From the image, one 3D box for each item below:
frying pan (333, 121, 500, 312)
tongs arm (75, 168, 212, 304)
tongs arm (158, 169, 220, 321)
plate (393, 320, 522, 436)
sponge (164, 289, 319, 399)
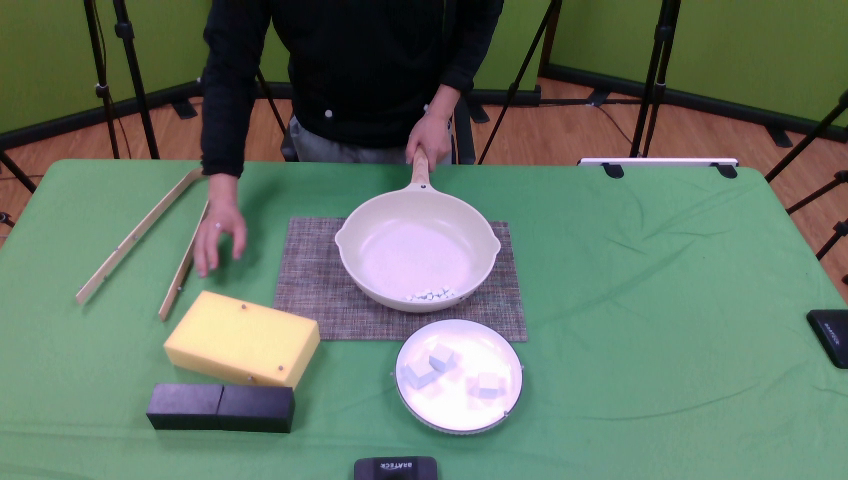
[{"bbox_3d":[-0.011,-0.063,1.195,0.307,0.103,0.485,4,55,-2],"label":"frying pan"},{"bbox_3d":[-0.526,-0.021,1.167,0.051,0.026,0.383,13,45,7],"label":"tongs arm"},{"bbox_3d":[-0.446,-0.005,1.164,0.028,0.028,0.385,1,46,0],"label":"tongs arm"},{"bbox_3d":[0.053,0.222,0.979,0.208,0.039,0.206,3,46,-2],"label":"plate"},{"bbox_3d":[-0.292,0.167,0.985,0.206,0.061,0.117,14,49,8],"label":"sponge"}]
